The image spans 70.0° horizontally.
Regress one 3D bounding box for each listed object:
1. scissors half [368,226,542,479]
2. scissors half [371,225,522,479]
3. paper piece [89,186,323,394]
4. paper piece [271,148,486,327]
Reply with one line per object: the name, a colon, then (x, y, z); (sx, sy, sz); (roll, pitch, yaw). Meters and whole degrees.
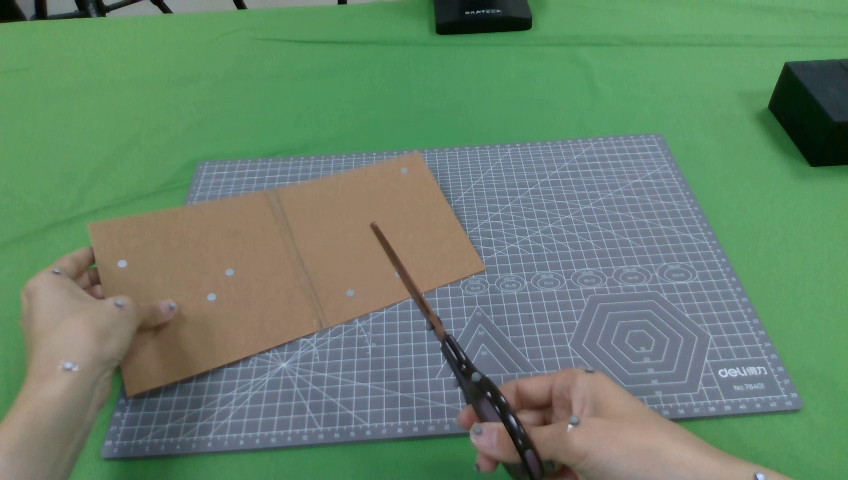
scissors half: (0.011, 0.055, 0.338); (0.013, 0.040, 0.173); (-31, 62, -9)
scissors half: (0.012, 0.063, 0.356); (0.013, 0.040, 0.174); (-29, 78, -14)
paper piece: (-0.160, 0.029, 0.446); (0.136, 0.004, 0.134); (-14, 69, -23)
paper piece: (-0.039, -0.009, 0.489); (0.138, 0.009, 0.135); (-18, 65, -16)
